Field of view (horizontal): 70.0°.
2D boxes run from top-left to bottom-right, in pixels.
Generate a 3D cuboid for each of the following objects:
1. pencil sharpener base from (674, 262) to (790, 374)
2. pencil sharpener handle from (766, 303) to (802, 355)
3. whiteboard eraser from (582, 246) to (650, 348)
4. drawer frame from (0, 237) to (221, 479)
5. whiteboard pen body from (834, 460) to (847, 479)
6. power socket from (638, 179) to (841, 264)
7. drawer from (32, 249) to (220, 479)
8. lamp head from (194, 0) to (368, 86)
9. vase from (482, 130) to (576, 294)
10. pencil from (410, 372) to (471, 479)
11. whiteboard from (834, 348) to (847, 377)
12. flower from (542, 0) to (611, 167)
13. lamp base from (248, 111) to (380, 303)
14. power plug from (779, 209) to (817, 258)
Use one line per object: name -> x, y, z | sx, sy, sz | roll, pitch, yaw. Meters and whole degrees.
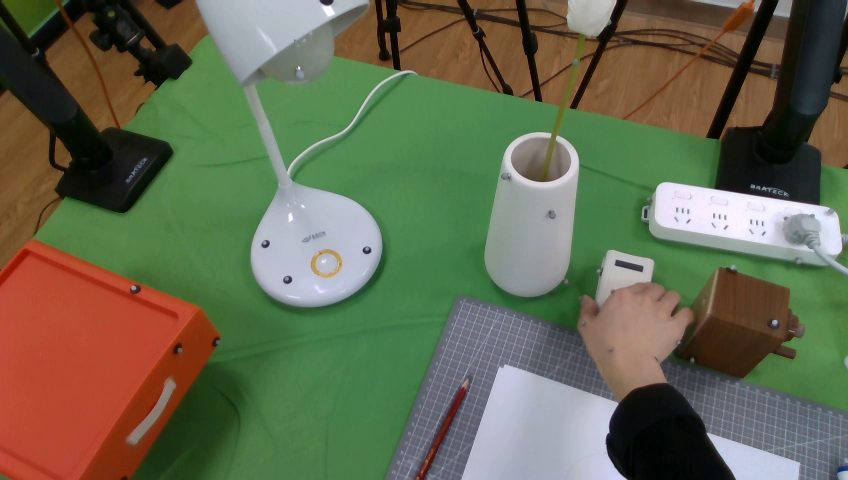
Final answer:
pencil sharpener base -> 0.311, 0.083, 0.617 | 0.076, 0.108, 0.061 | 18, 60, 14
pencil sharpener handle -> 0.358, 0.091, 0.594 | 0.030, 0.068, 0.036 | 18, 59, 15
whiteboard eraser -> 0.215, 0.064, 0.674 | 0.055, 0.042, 0.112 | 16, 58, 12
drawer frame -> -0.351, 0.124, 0.592 | 0.213, 0.083, 0.200 | 19, 61, 13
whiteboard pen body -> 0.393, 0.268, 0.539 | 0.017, 0.017, 0.139 | 2, 57, 5
power socket -> 0.376, -0.023, 0.726 | 0.226, 0.033, 0.071 | 11, 59, 10
drawer -> -0.345, 0.124, 0.589 | 0.211, 0.074, 0.193 | 18, 61, 15
lamp head -> -0.117, -0.186, 0.426 | 0.112, 0.112, 0.123 | -39, 101, -20
vase -> 0.111, -0.024, 0.643 | 0.098, 0.202, 0.097 | -2, 56, 4
pencil -> 0.004, 0.213, 0.604 | 0.012, 0.012, 0.193 | 23, 60, 18
whiteboard -> 0.567, 0.118, 0.497 | 0.144, 0.307, 0.215 | -1, 54, -20
flower -> 0.119, -0.082, 0.581 | 0.038, 0.364, 0.043 | 6, 39, -1
lamp base -> -0.145, -0.045, 0.681 | 0.160, 0.182, 0.177 | -32, 58, -17
power plug -> 0.417, -0.003, 0.683 | 0.035, 0.053, 0.072 | 20, 62, 16
